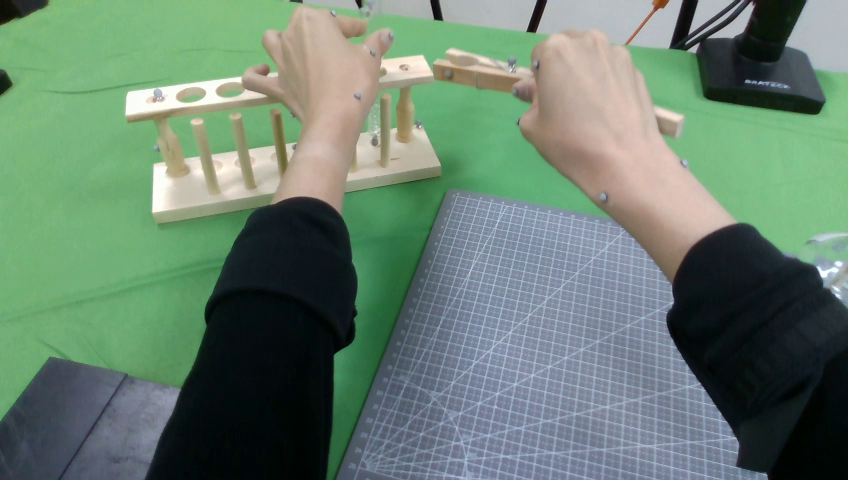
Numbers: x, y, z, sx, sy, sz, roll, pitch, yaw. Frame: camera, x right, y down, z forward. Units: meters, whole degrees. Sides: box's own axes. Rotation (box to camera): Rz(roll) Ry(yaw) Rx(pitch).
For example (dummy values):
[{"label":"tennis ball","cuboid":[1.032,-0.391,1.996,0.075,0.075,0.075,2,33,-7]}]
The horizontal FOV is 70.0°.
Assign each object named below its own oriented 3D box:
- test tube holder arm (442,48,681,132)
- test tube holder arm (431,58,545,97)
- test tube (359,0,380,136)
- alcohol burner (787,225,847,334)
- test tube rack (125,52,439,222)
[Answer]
[{"label":"test tube holder arm","cuboid":[0.084,-0.104,0.407,0.177,0.015,0.013,25,55,30]},{"label":"test tube holder arm","cuboid":[0.045,-0.115,0.425,0.087,0.015,0.010,16,51,25]},{"label":"test tube","cuboid":[-0.045,-0.151,0.503,0.017,0.151,0.017,2,45,-1]},{"label":"alcohol burner","cuboid":[0.300,0.009,0.410,0.078,0.120,0.077,2,45,-1]},{"label":"test tube rack","cuboid":[-0.111,-0.089,0.513,0.243,0.086,0.066,-11,48,-12]}]
